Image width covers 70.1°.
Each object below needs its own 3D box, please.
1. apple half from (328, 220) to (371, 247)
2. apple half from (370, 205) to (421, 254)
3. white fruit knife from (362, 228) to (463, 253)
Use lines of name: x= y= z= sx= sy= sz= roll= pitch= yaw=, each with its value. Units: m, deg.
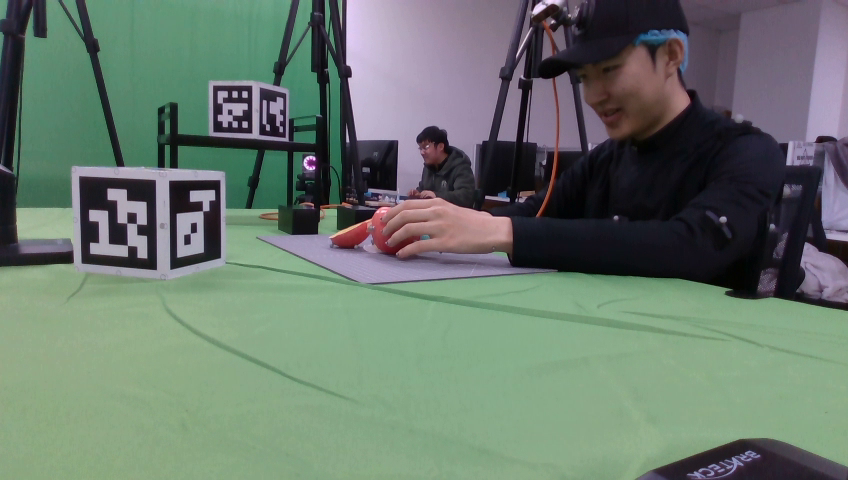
apple half: x=-0.111 y=-0.007 z=0.971 sx=0.081 sy=0.033 sz=0.081 roll=-18 pitch=9 yaw=3
apple half: x=-0.036 y=-0.015 z=0.920 sx=0.081 sy=0.074 sz=0.053 roll=0 pitch=11 yaw=-44
white fruit knife: x=-0.014 y=0.001 z=0.977 sx=0.208 sy=0.027 sz=0.016 roll=-8 pitch=8 yaw=-40
